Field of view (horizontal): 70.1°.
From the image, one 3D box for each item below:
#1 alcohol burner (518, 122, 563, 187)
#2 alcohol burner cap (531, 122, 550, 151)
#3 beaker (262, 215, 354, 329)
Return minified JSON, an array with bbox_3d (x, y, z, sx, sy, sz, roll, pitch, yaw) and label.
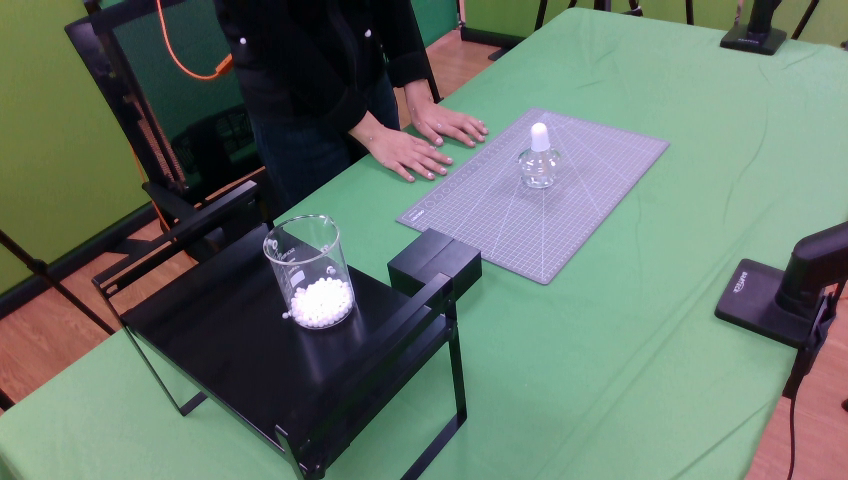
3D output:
[{"bbox_3d":[0.201,-0.151,1.046,0.078,0.119,0.077,-5,42,5],"label":"alcohol burner"},{"bbox_3d":[0.196,-0.178,1.024,0.034,0.048,0.033,-8,40,7],"label":"alcohol burner cap"},{"bbox_3d":[-0.112,0.034,0.616,0.073,0.101,0.084,13,44,23],"label":"beaker"}]
